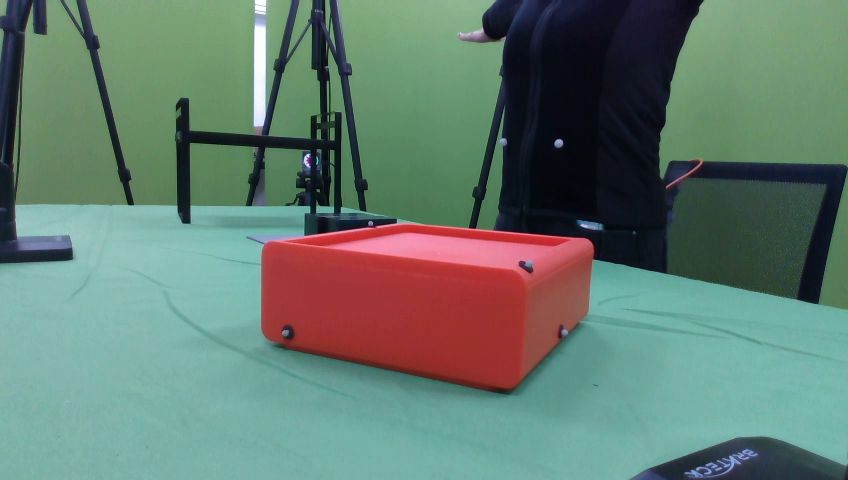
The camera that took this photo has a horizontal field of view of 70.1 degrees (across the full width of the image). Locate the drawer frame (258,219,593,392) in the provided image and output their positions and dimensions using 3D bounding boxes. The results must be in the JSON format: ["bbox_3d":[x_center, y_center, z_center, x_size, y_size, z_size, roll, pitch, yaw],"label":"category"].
[{"bbox_3d":[0.015,0.036,0.492,0.201,0.082,0.214,6,9,24],"label":"drawer frame"}]

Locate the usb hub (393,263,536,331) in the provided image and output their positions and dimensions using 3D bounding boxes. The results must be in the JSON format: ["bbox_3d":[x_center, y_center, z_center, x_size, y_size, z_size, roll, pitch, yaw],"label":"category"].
[{"bbox_3d":[0.033,0.047,0.533,0.124,0.025,0.050,16,14,39],"label":"usb hub"}]

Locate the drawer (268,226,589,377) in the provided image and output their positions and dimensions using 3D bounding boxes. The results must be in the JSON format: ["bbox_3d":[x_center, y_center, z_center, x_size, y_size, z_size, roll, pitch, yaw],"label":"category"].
[{"bbox_3d":[0.015,0.037,0.493,0.194,0.073,0.212,7,8,25],"label":"drawer"}]
